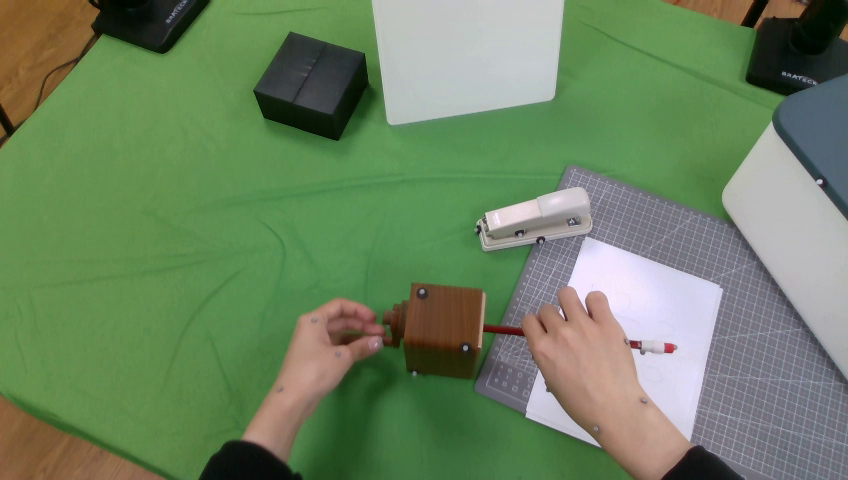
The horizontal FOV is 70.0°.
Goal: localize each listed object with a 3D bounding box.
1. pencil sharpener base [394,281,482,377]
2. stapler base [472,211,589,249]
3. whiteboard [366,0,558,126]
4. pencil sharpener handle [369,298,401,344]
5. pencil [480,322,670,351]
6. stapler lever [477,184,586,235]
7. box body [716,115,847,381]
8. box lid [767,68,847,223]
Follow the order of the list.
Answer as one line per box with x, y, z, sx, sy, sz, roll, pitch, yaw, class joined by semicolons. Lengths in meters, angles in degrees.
0.013;0.087;0.582;0.076;0.108;0.061;5;64;3;pencil sharpener base
0.121;-0.022;0.682;0.130;0.024;0.041;-11;60;-2;stapler base
0.034;-0.316;0.703;0.217;0.308;0.142;-10;45;-5;whiteboard
-0.039;0.080;0.572;0.030;0.068;0.035;5;54;3;pencil sharpener handle
0.123;0.086;0.550;0.194;0.012;0.012;5;64;5;pencil
0.118;-0.033;0.660;0.118;0.040;0.026;-11;60;-3;stapler lever
0.506;0.010;0.594;0.254;0.161;0.361;-21;66;-11;box body
0.505;-0.025;0.529;0.263;0.015;0.368;-21;67;-11;box lid
